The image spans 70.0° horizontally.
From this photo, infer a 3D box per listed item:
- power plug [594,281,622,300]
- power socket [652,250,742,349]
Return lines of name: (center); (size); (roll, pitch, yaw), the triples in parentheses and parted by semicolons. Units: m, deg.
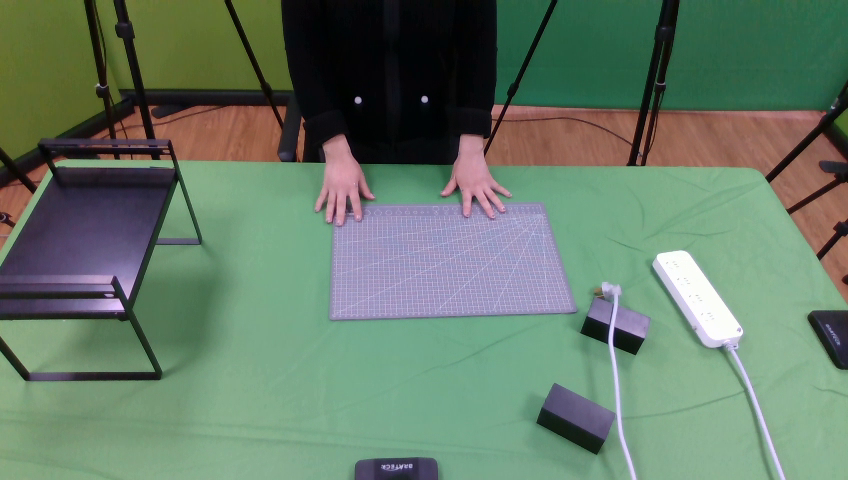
power plug: (0.331, 0.093, 1.106); (0.052, 0.073, 0.035); (-17, 82, 28)
power socket: (0.502, 0.104, 1.127); (0.072, 0.033, 0.225); (-8, 48, -10)
